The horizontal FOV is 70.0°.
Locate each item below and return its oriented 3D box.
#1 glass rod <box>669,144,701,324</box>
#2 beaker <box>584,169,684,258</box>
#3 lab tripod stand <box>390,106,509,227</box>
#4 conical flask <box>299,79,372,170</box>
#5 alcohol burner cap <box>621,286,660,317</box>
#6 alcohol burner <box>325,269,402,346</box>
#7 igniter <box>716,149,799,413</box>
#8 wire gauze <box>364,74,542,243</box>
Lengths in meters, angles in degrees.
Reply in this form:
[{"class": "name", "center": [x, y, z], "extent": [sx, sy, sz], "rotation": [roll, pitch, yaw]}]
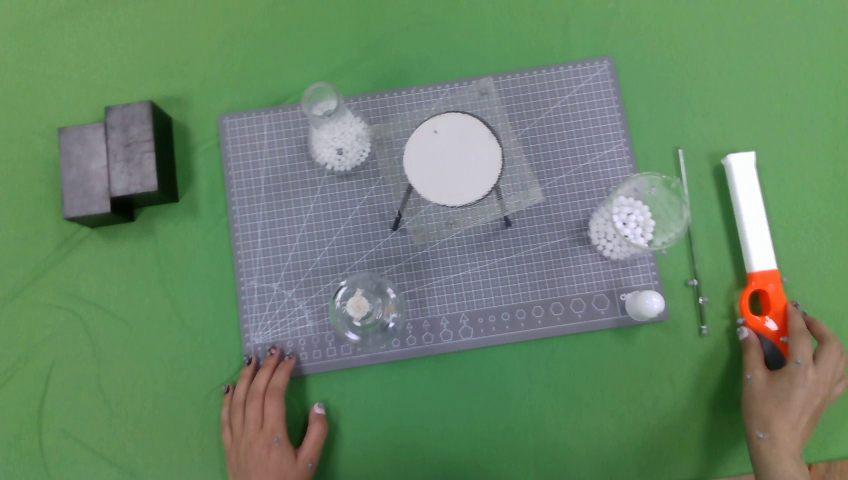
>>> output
[{"class": "glass rod", "center": [0.282, -0.009, 0.655], "extent": [0.008, 0.008, 0.199], "rotation": [-5, 81, 0]}, {"class": "beaker", "center": [0.207, -0.024, 0.609], "extent": [0.074, 0.100, 0.084], "rotation": [44, 84, 7]}, {"class": "lab tripod stand", "center": [0.024, -0.063, 0.599], "extent": [0.148, 0.132, 0.148], "rotation": [0, 83, 1]}, {"class": "conical flask", "center": [-0.096, -0.121, 0.615], "extent": [0.075, 0.122, 0.075], "rotation": [0, 81, 1]}, {"class": "alcohol burner cap", "center": [0.226, 0.062, 0.624], "extent": [0.034, 0.048, 0.033], "rotation": [0, 80, 1]}, {"class": "alcohol burner", "center": [-0.061, 0.064, 0.591], "extent": [0.078, 0.119, 0.077], "rotation": [0, 80, 3]}, {"class": "igniter", "center": [0.349, 0.040, 0.636], "extent": [0.057, 0.025, 0.275], "rotation": [-7, 82, -1]}, {"class": "wire gauze", "center": [0.024, -0.072, 0.532], "extent": [0.125, 0.011, 0.121], "rotation": [-21, 82, -2]}]
